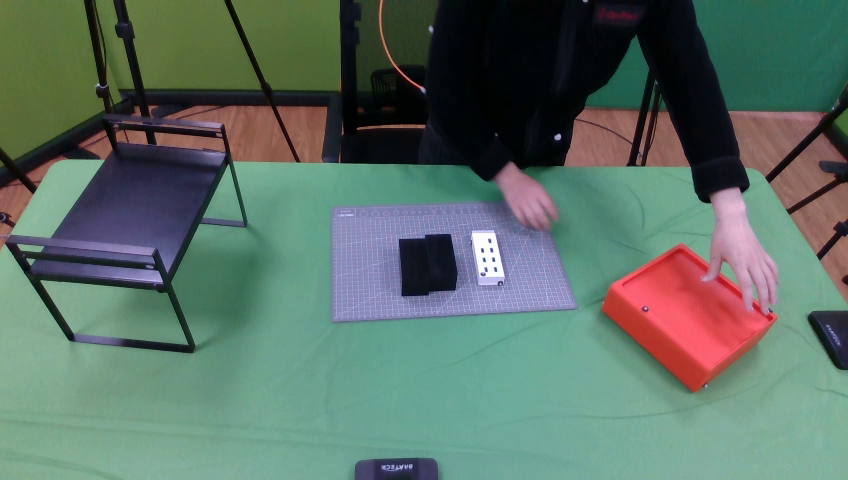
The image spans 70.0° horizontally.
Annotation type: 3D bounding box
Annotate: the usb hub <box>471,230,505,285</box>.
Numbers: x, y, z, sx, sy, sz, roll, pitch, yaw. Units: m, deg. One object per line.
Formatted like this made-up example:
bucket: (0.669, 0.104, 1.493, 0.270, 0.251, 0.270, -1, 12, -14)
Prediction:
usb hub: (0.121, 0.032, 1.168, 0.049, 0.025, 0.124, -2, 46, -5)

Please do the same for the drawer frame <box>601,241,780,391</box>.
drawer frame: (0.462, 0.125, 1.065, 0.202, 0.083, 0.212, -26, 54, -26)

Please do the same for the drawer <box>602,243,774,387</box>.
drawer: (0.460, 0.125, 1.067, 0.194, 0.073, 0.210, -25, 53, -26)
